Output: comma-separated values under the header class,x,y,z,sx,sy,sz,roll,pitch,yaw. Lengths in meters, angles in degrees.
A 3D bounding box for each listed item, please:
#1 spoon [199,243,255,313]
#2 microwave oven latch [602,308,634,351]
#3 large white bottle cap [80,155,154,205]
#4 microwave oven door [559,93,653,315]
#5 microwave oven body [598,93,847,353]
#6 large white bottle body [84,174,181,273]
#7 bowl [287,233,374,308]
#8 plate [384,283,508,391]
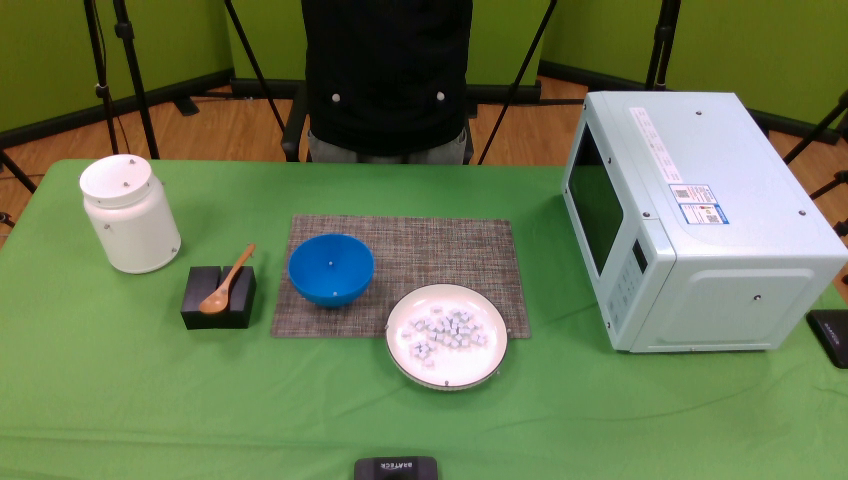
class,x,y,z,sx,sy,sz,roll,pitch,yaw
spoon,-0.333,0.062,1.051,0.041,0.022,0.193,7,40,9
microwave oven latch,0.332,0.153,1.044,0.030,0.029,0.078,-1,45,-4
large white bottle cap,-0.519,-0.103,1.027,0.115,0.018,0.114,2,46,-2
microwave oven door,0.327,-0.074,1.123,0.039,0.245,0.353,-1,46,-5
microwave oven body,0.475,-0.041,1.109,0.326,0.261,0.438,-1,45,-4
large white bottle body,-0.523,-0.045,1.088,0.131,0.185,0.130,2,46,-2
bowl,-0.165,0.068,1.078,0.151,0.077,0.150,3,46,-3
plate,0.036,0.166,1.029,0.209,0.038,0.208,2,49,-2
